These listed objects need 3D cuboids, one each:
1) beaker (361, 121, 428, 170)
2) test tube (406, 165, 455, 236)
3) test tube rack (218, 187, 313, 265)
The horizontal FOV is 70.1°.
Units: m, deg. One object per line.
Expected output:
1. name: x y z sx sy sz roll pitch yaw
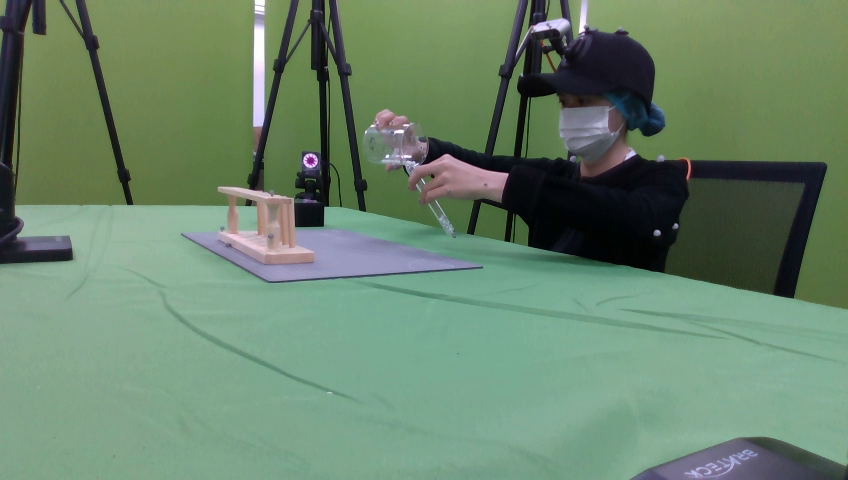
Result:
1. beaker: -0.054 -0.166 1.062 0.100 0.084 0.074 9 -2 39
2. test tube: 0.010 -0.066 1.003 0.017 0.017 0.149 -5 54 -44
3. test tube rack: -0.235 -0.027 0.872 0.067 0.085 0.241 -2 8 -32
